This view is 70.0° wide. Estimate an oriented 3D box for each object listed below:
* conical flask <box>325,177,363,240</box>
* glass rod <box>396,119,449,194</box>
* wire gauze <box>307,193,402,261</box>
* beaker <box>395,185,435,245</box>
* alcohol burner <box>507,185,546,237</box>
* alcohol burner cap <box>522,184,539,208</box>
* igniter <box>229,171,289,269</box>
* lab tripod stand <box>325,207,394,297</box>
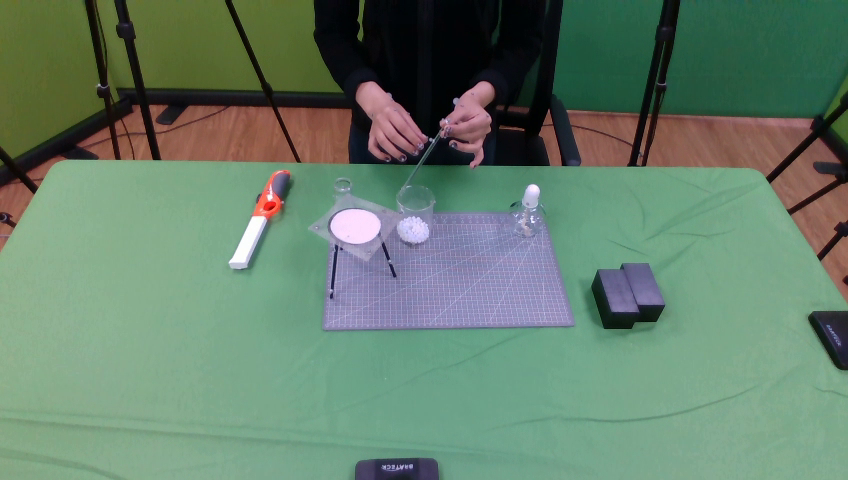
[{"bbox_3d":[-0.158,-0.064,1.176,0.075,0.122,0.075,2,46,-2],"label":"conical flask"},{"bbox_3d":[-0.006,-0.146,1.090,0.008,0.200,0.008,18,48,-21],"label":"glass rod"},{"bbox_3d":[-0.119,-0.028,1.043,0.125,0.011,0.121,24,47,17],"label":"wire gauze"},{"bbox_3d":[-0.022,-0.048,1.187,0.074,0.101,0.083,-28,53,-28],"label":"beaker"},{"bbox_3d":[0.208,-0.063,1.210,0.078,0.119,0.077,3,44,-3],"label":"alcohol burner"},{"bbox_3d":[0.210,-0.087,1.183,0.034,0.048,0.033,0,53,0],"label":"alcohol burner cap"},{"bbox_3d":[-0.328,-0.049,1.218,0.057,0.025,0.275,1,45,11],"label":"igniter"},{"bbox_3d":[-0.124,0.017,1.092,0.148,0.132,0.147,3,44,-3],"label":"lab tripod stand"}]
